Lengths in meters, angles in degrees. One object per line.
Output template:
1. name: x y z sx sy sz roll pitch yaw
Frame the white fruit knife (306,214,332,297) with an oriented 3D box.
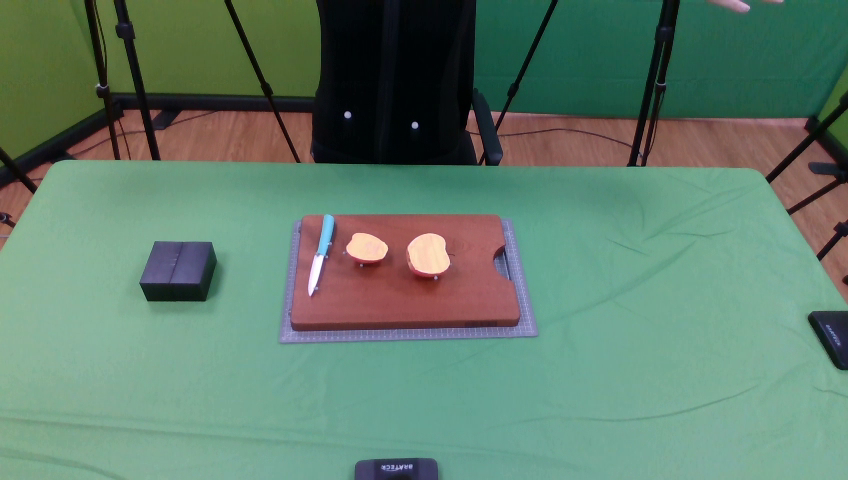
1. white fruit knife: -0.195 0.025 1.125 0.027 0.016 0.206 -16 44 21

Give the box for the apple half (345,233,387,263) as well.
1. apple half: -0.109 0.023 1.121 0.081 0.033 0.081 13 36 -10

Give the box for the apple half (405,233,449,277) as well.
1. apple half: 0.003 0.033 1.103 0.075 0.053 0.080 -12 72 -18
